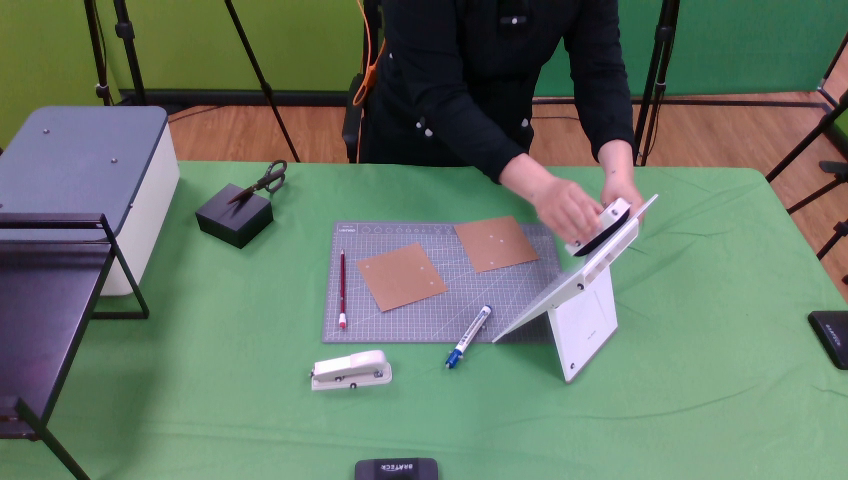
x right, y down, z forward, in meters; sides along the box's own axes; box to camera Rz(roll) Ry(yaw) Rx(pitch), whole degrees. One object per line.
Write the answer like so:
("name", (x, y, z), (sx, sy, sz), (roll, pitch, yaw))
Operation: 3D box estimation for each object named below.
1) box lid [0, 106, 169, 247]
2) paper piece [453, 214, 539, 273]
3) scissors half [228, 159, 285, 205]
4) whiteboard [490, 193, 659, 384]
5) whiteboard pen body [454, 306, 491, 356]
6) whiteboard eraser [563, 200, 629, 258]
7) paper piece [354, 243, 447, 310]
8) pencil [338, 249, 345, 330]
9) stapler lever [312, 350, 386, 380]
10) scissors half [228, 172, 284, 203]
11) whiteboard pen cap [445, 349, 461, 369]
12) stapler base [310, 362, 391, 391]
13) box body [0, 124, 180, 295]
("box lid", (-0.624, -0.125, 1.067), (0.263, 0.015, 0.369), (0, 46, -3))
("paper piece", (0.142, 0.003, 1.212), (0.135, 0.004, 0.135), (-12, 47, -13))
("scissors half", (-0.335, -0.116, 1.217), (0.013, 0.040, 0.175), (27, 46, 12))
("whiteboard", (0.278, 0.101, 0.969), (0.217, 0.306, 0.143), (-36, 79, -33))
("whiteboard pen body", (0.079, 0.163, 1.046), (0.017, 0.017, 0.140), (25, 49, 19))
("whiteboard eraser", (0.273, -0.014, 0.957), (0.042, 0.113, 0.055), (50, 49, 9))
("paper piece", (-0.045, 0.067, 1.137), (0.136, 0.009, 0.137), (-13, 47, -23))
("pencil", (-0.152, 0.085, 1.107), (0.012, 0.012, 0.192), (-2, 44, -7))
("stapler lever", (-0.120, 0.199, 0.963), (0.118, 0.040, 0.026), (-4, 44, -8))
("scissors half", (-0.339, -0.101, 1.229), (0.013, 0.040, 0.175), (22, 28, 15))
("whiteboard pen cap", (0.049, 0.197, 1.011), (0.018, 0.018, 0.033), (23, 51, 17))
("stapler base", (-0.119, 0.215, 0.980), (0.131, 0.024, 0.041), (-5, 44, -7))
("box body", (-0.628, -0.075, 1.122), (0.254, 0.161, 0.361), (1, 46, -4))
